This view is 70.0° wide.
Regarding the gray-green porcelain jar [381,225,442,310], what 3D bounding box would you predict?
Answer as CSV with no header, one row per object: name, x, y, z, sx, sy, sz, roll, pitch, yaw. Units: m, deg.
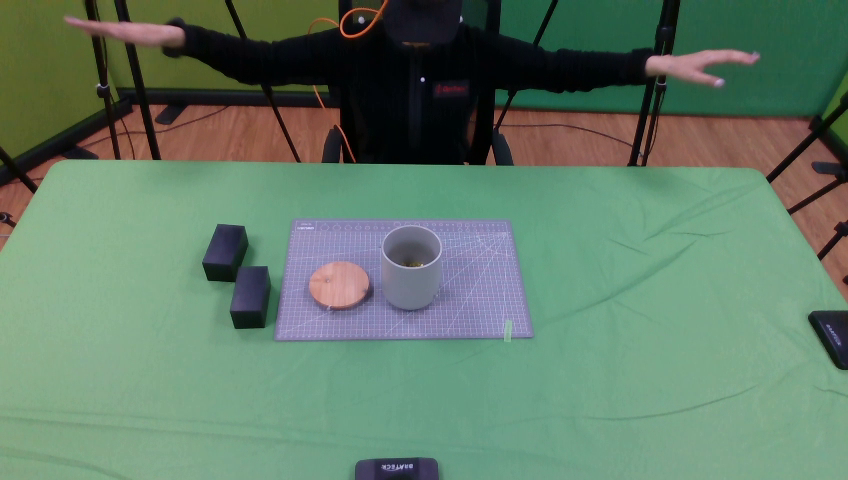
gray-green porcelain jar,-0.023,0.053,1.068,0.106,0.127,0.105,2,46,-2

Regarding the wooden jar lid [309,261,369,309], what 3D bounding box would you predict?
wooden jar lid,-0.155,0.084,1.104,0.108,0.021,0.107,3,47,-3
